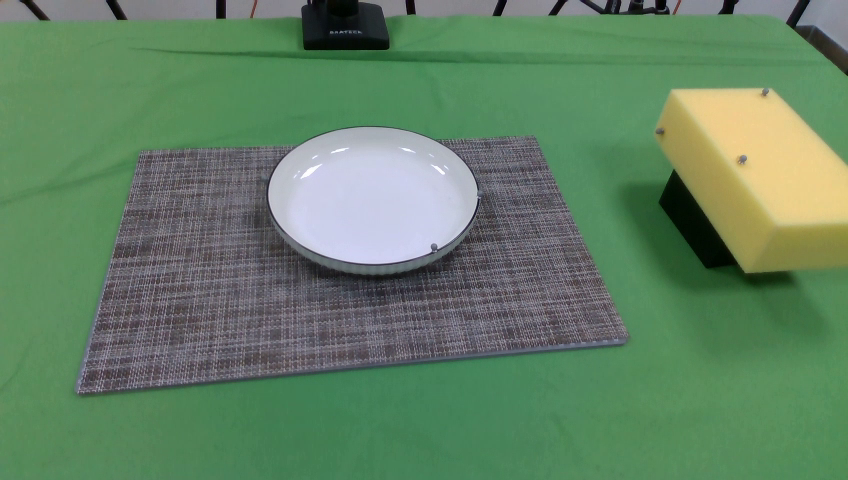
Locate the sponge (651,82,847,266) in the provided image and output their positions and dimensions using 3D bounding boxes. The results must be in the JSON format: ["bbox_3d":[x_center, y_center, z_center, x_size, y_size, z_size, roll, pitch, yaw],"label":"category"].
[{"bbox_3d":[0.323,-0.072,0.588,0.118,0.061,0.204,-4,47,-9],"label":"sponge"}]

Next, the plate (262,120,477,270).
[{"bbox_3d":[-0.052,-0.045,0.603,0.208,0.039,0.205,3,46,-3],"label":"plate"}]
